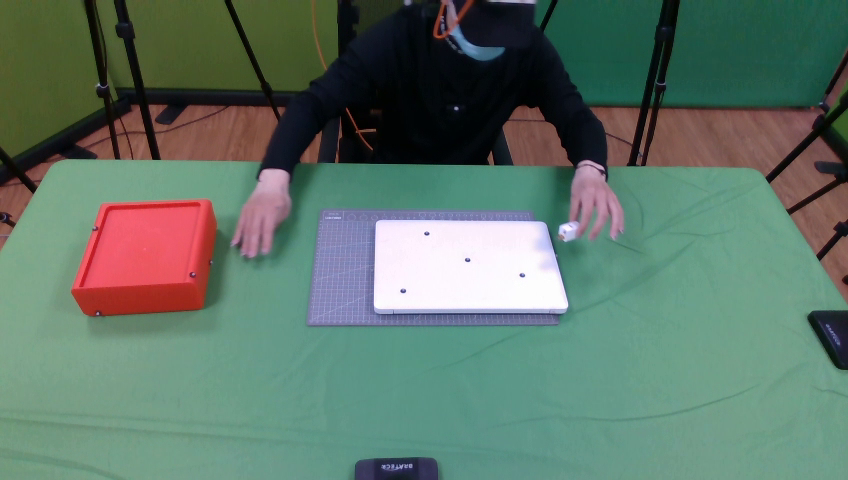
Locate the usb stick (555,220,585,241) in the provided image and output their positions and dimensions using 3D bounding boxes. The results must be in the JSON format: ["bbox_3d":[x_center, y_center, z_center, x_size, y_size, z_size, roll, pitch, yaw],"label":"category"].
[{"bbox_3d":[0.272,-0.017,1.136,0.059,0.027,0.021,-19,41,-22],"label":"usb stick"}]

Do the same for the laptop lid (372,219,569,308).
[{"bbox_3d":[0.081,0.039,1.152,0.357,0.013,0.240,2,44,-3],"label":"laptop lid"}]

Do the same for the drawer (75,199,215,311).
[{"bbox_3d":[-0.494,0.022,1.097,0.195,0.073,0.210,-2,47,-8],"label":"drawer"}]

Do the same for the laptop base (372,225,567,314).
[{"bbox_3d":[0.080,0.049,1.158,0.355,0.023,0.234,0,43,-4],"label":"laptop base"}]

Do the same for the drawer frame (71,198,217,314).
[{"bbox_3d":[-0.493,0.023,1.095,0.202,0.083,0.212,-3,47,-8],"label":"drawer frame"}]
